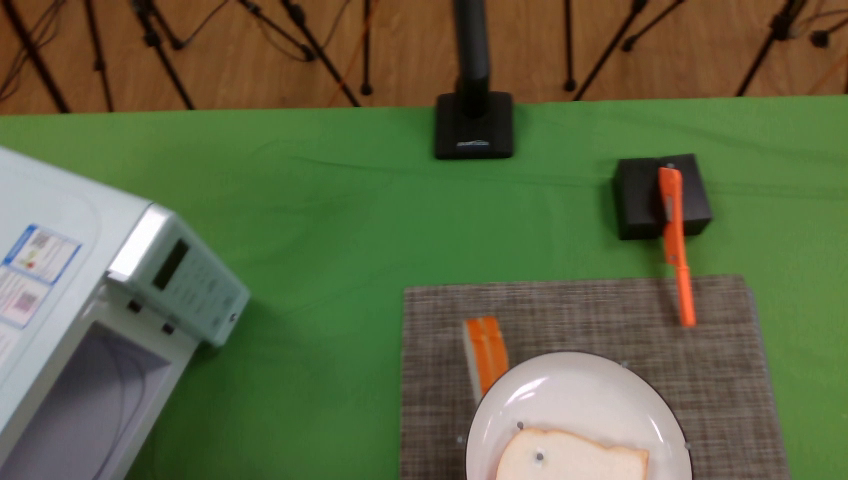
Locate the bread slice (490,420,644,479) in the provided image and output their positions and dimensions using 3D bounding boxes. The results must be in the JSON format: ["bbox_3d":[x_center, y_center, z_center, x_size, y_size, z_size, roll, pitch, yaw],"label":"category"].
[{"bbox_3d":[0.129,0.225,0.556,0.134,0.018,0.106,11,68,6],"label":"bread slice"}]

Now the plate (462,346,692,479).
[{"bbox_3d":[0.139,0.205,0.565,0.208,0.039,0.206,0,70,1],"label":"plate"}]

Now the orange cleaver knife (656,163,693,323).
[{"bbox_3d":[0.321,0.000,0.783,0.012,0.077,0.211,-6,86,4],"label":"orange cleaver knife"}]

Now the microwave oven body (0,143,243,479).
[{"bbox_3d":[-0.469,0.149,0.674,0.325,0.262,0.439,19,69,12],"label":"microwave oven body"}]

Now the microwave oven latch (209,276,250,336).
[{"bbox_3d":[-0.258,0.084,0.794,0.030,0.030,0.079,20,69,12],"label":"microwave oven latch"}]
